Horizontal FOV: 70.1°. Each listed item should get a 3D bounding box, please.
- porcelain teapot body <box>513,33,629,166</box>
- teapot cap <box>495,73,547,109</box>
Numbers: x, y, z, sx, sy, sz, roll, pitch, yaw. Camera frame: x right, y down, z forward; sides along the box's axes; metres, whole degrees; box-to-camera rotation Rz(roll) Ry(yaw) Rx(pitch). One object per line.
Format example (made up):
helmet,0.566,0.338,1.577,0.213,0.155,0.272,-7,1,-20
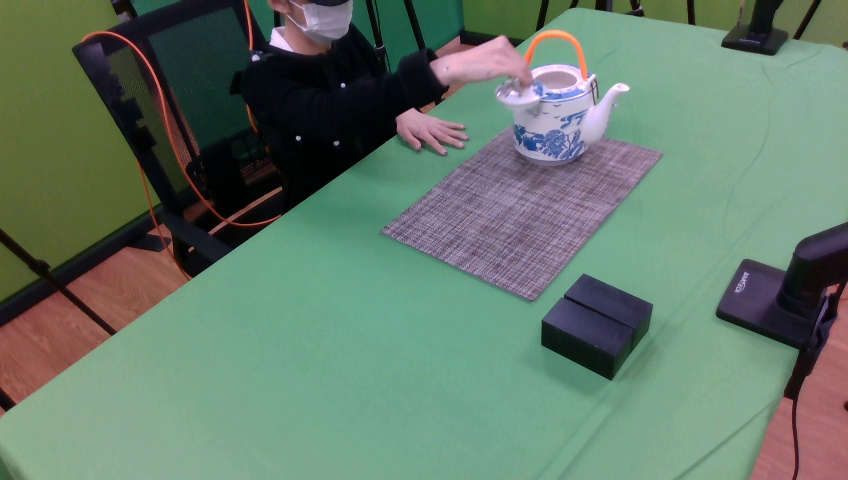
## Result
porcelain teapot body,0.256,-0.248,1.065,0.204,0.226,0.145,19,47,28
teapot cap,0.157,-0.248,0.984,0.085,0.044,0.085,-3,39,3
